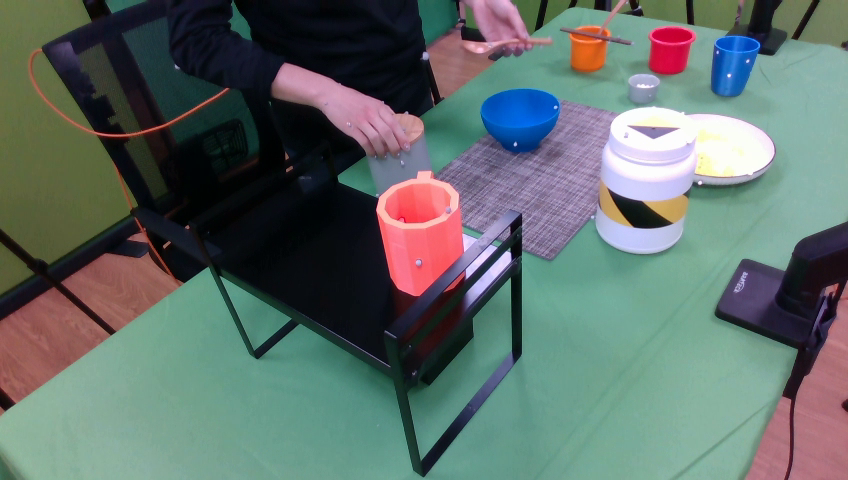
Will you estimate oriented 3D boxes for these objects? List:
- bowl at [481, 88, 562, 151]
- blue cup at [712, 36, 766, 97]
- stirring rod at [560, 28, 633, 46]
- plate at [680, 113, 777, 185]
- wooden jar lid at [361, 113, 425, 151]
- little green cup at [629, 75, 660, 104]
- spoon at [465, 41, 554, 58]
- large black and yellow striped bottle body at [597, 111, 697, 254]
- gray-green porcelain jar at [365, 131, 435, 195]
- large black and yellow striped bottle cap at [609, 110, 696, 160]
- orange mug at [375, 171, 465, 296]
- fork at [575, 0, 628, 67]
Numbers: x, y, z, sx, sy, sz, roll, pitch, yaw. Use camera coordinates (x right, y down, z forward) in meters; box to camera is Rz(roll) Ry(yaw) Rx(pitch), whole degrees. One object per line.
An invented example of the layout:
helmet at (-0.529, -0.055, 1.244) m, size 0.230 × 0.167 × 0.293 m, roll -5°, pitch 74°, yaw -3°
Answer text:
bowl at (0.187, -0.223, 1.161) m, size 0.151 × 0.077 × 0.150 m, roll -4°, pitch 40°, yaw 4°
blue cup at (0.627, -0.350, 1.227) m, size 0.092 × 0.100 × 0.092 m, roll -4°, pitch 39°, yaw 4°
stirring rod at (0.382, -0.453, 1.345) m, size 0.174 × 0.006 × 0.014 m, roll 26°, pitch 52°, yaw 33°
plate at (0.506, -0.158, 1.073) m, size 0.209 × 0.038 × 0.208 m, roll -5°, pitch 40°, yaw 4°
wooden jar lid at (-0.051, -0.177, 1.015) m, size 0.108 × 0.021 × 0.108 m, roll -7°, pitch 40°, yaw 6°
little green cup at (0.457, -0.314, 1.260) m, size 0.061 × 0.039 × 0.061 m, roll -4°, pitch 40°, yaw 4°
spoon at (0.162, -0.357, 1.118) m, size 0.195 × 0.022 × 0.041 m, roll -14°, pitch 50°, yaw -20°
large black and yellow striped bottle body at (0.331, -0.086, 0.904) m, size 0.131 × 0.185 × 0.130 m, roll -5°, pitch 41°, yaw 4°
gray-green porcelain jar at (-0.039, -0.130, 1.054) m, size 0.106 × 0.127 × 0.105 m, roll -8°, pitch 39°, yaw 7°
large black and yellow striped bottle cap at (0.319, -0.150, 0.849) m, size 0.115 × 0.019 × 0.114 m, roll -4°, pitch 39°, yaw 3°
orange mug at (0.000, -0.016, 0.661) m, size 0.083 × 0.101 × 0.125 m, roll -2°, pitch 45°, yaw 8°
fork at (0.413, -0.481, 1.377) m, size 0.207 × 0.019 × 0.028 m, roll -56°, pitch 43°, yaw 12°
